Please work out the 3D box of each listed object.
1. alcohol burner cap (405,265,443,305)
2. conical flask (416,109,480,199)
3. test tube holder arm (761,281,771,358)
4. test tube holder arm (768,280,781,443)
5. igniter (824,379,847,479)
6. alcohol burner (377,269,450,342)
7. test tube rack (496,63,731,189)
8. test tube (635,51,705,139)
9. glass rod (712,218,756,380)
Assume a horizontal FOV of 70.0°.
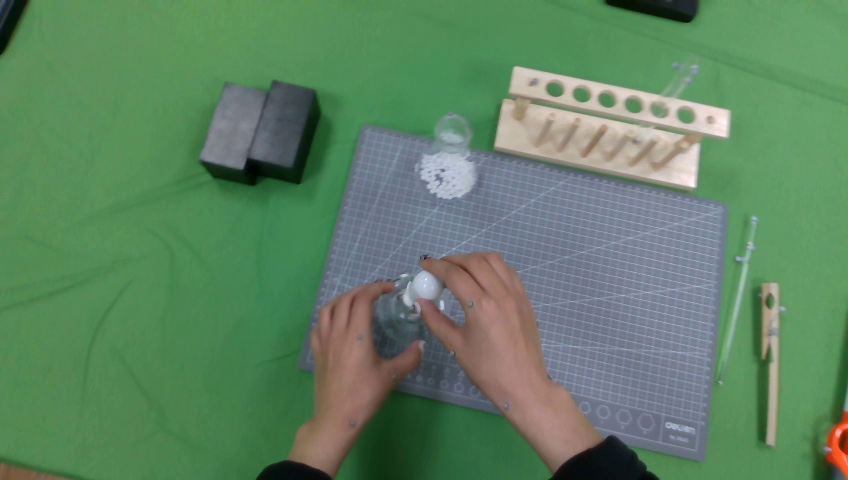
[{"bbox_3d":[0.001,0.038,0.546,0.034,0.048,0.033,3,74,-8],"label":"alcohol burner cap"},{"bbox_3d":[0.030,-0.098,0.662,0.075,0.122,0.075,1,75,-2],"label":"conical flask"},{"bbox_3d":[0.390,0.090,0.689,0.010,0.015,0.087,-3,73,34],"label":"test tube holder arm"},{"bbox_3d":[0.390,0.133,0.675,0.013,0.015,0.177,-5,72,34],"label":"test tube holder arm"},{"bbox_3d":[0.468,0.198,0.659,0.057,0.025,0.275,23,76,-7],"label":"igniter"},{"bbox_3d":[-0.011,0.064,0.624,0.078,0.119,0.077,0,74,-1],"label":"alcohol burner"},{"bbox_3d":[0.213,-0.129,0.701,0.242,0.085,0.066,12,75,1],"label":"test tube rack"},{"bbox_3d":[0.263,-0.152,0.658,0.017,0.151,0.017,1,70,-3],"label":"test tube"},{"bbox_3d":[0.358,0.066,0.698,0.008,0.008,0.199,20,78,2],"label":"glass rod"}]
